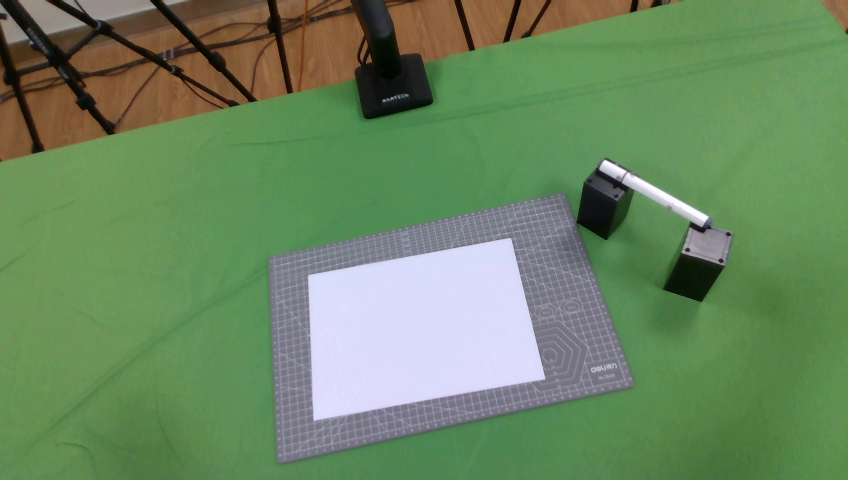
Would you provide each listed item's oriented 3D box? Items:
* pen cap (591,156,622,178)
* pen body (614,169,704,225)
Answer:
[{"bbox_3d":[0.233,-0.094,0.777,0.038,0.017,0.017,35,71,24],"label":"pen cap"},{"bbox_3d":[0.279,-0.061,0.754,0.143,0.017,0.017,36,71,23],"label":"pen body"}]
